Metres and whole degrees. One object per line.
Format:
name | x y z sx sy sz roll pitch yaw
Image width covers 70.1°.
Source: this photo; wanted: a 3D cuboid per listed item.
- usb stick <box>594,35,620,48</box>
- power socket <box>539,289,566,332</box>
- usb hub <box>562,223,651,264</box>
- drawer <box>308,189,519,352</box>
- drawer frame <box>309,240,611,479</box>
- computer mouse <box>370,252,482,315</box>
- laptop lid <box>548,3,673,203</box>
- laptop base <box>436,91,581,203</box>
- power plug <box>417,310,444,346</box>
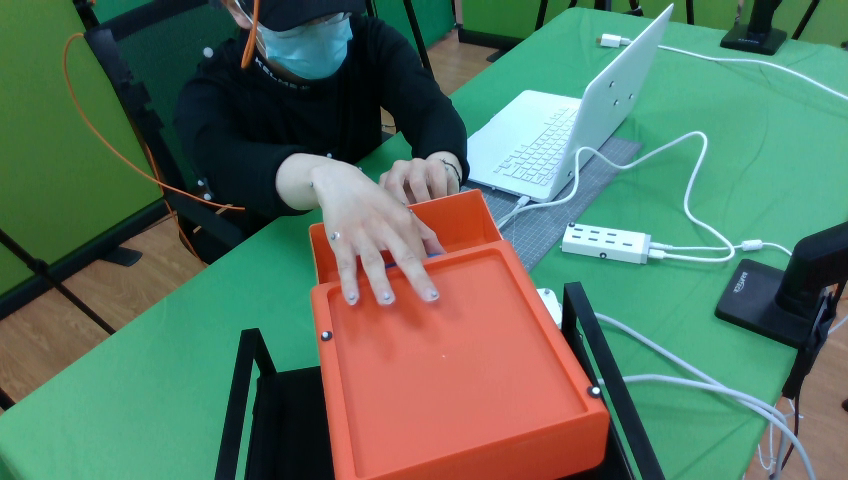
usb stick | 0.443 -0.482 1.466 0.059 0.021 0.027 10 43 10
power socket | 0.081 0.111 0.822 0.227 0.033 0.072 -6 41 0
usb hub | 0.279 0.005 0.926 0.124 0.025 0.049 10 43 19
drawer | -0.006 0.050 0.595 0.195 0.073 0.210 -12 39 -6
drawer frame | 0.017 0.109 0.516 0.202 0.083 0.212 -13 39 -8
computer mouse | 0.001 0.044 0.623 0.117 0.041 0.062 -2 40 16
laptop lid | 0.320 -0.235 1.026 0.013 0.242 0.357 31 50 20
laptop base | 0.214 -0.193 1.172 0.233 0.023 0.355 19 46 32
power plug | 0.006 0.123 0.785 0.035 0.053 0.072 1 39 9
